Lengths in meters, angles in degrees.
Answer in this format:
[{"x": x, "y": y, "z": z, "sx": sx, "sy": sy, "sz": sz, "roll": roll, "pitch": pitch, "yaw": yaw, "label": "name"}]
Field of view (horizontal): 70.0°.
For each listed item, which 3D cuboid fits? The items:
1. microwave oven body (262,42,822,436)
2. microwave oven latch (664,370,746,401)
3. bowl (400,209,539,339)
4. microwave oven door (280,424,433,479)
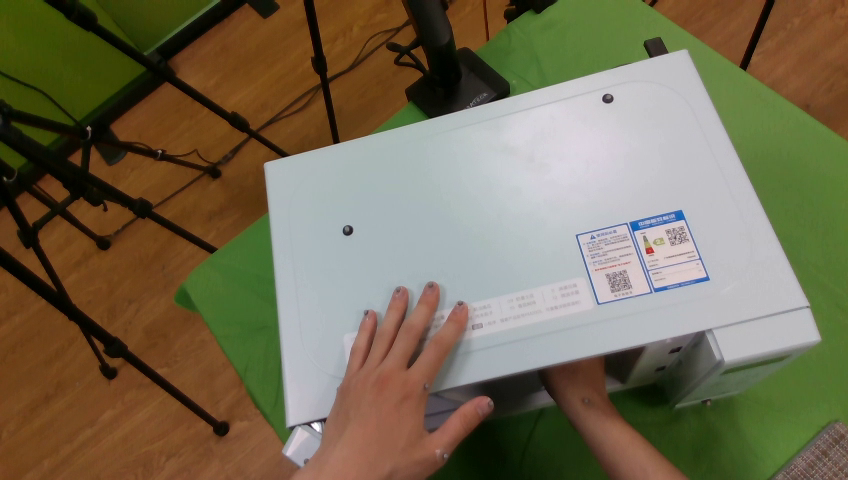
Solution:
[{"x": 0.093, "y": 0.031, "z": 0.657, "sx": 0.441, "sy": 0.262, "sz": 0.323, "roll": -15, "pitch": 65, "yaw": 5, "label": "microwave oven body"}, {"x": 0.309, "y": 0.156, "z": 0.668, "sx": 0.079, "sy": 0.030, "sz": 0.030, "roll": -13, "pitch": 66, "yaw": 6, "label": "microwave oven latch"}, {"x": 0.053, "y": 0.048, "z": 0.682, "sx": 0.151, "sy": 0.077, "sz": 0.150, "roll": -4, "pitch": 63, "yaw": 7, "label": "bowl"}, {"x": 0.054, "y": 0.280, "z": 0.550, "sx": 0.353, "sy": 0.246, "sz": 0.039, "roll": 27, "pitch": 75, "yaw": 20, "label": "microwave oven door"}]
